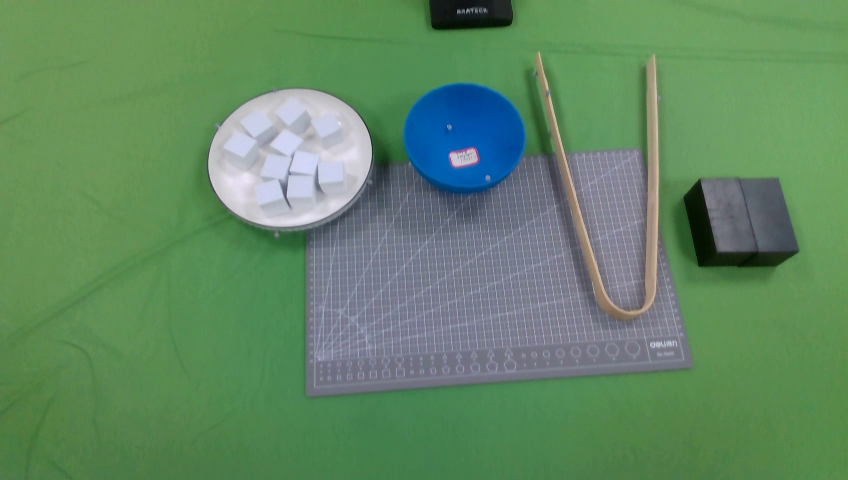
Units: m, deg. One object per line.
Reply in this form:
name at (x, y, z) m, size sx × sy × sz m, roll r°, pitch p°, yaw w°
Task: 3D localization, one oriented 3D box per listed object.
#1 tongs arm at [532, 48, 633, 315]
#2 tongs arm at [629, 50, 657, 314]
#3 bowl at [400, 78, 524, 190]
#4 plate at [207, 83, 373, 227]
tongs arm at (0.199, -0.089, 0.784) m, size 0.051 × 0.027 × 0.382 m, roll -4°, pitch 68°, yaw -7°
tongs arm at (0.286, -0.089, 0.789) m, size 0.028 × 0.028 × 0.385 m, roll 11°, pitch 68°, yaw -4°
bowl at (0.046, -0.120, 0.768) m, size 0.151 × 0.077 × 0.150 m, roll 1°, pitch 68°, yaw -1°
plate at (-0.169, -0.107, 0.780) m, size 0.208 × 0.039 × 0.206 m, roll 0°, pitch 68°, yaw 0°
